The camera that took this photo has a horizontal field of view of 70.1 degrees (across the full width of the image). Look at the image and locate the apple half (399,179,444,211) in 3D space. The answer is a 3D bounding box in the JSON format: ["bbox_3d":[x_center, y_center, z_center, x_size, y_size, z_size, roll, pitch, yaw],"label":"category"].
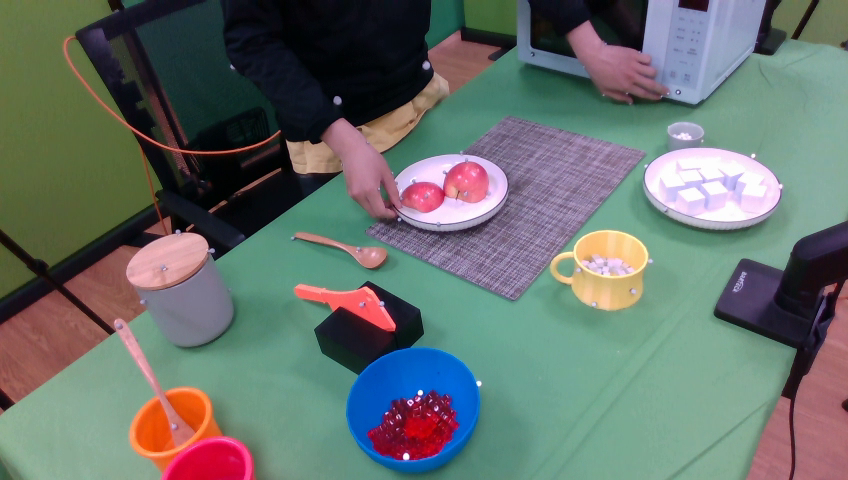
[{"bbox_3d":[-0.004,-0.088,1.045,0.081,0.033,0.081,-1,42,2],"label":"apple half"}]

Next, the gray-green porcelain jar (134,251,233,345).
[{"bbox_3d":[-0.334,0.076,0.849,0.106,0.127,0.105,-4,41,4],"label":"gray-green porcelain jar"}]

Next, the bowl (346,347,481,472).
[{"bbox_3d":[-0.008,0.205,0.690,0.151,0.077,0.150,-4,40,4],"label":"bowl"}]

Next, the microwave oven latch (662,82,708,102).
[{"bbox_3d":[0.517,-0.298,1.202,0.078,0.029,0.030,27,52,34],"label":"microwave oven latch"}]

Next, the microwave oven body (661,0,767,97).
[{"bbox_3d":[0.473,-0.516,1.313,0.438,0.261,0.327,26,51,34],"label":"microwave oven body"}]

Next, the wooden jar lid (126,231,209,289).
[{"bbox_3d":[-0.340,0.030,0.809,0.108,0.021,0.108,-5,39,5],"label":"wooden jar lid"}]

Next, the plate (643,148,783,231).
[{"bbox_3d":[0.464,-0.080,0.986,0.207,0.039,0.206,-4,41,4],"label":"plate"}]

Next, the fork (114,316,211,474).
[{"bbox_3d":[-0.309,0.179,0.708,0.028,0.018,0.207,-30,89,-23],"label":"fork"}]

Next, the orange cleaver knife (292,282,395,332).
[{"bbox_3d":[-0.116,0.091,0.835,0.209,0.077,0.012,2,32,48],"label":"orange cleaver knife"}]

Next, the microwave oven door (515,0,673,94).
[{"bbox_3d":[0.344,-0.458,1.256,0.353,0.245,0.039,26,51,33],"label":"microwave oven door"}]

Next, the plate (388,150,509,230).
[{"bbox_3d":[0.044,-0.083,1.042,0.209,0.038,0.208,-4,40,4],"label":"plate"}]

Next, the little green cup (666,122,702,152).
[{"bbox_3d":[0.471,-0.184,1.102,0.061,0.039,0.061,-5,41,5],"label":"little green cup"}]

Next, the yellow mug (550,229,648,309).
[{"bbox_3d":[0.245,0.040,0.857,0.130,0.064,0.099,1,42,11],"label":"yellow mug"}]

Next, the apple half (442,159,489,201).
[{"bbox_3d":[0.074,-0.110,1.047,0.080,0.053,0.075,21,45,30],"label":"apple half"}]

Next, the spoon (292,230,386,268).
[{"bbox_3d":[-0.141,0.007,0.982,0.192,0.022,0.041,17,67,25],"label":"spoon"}]
